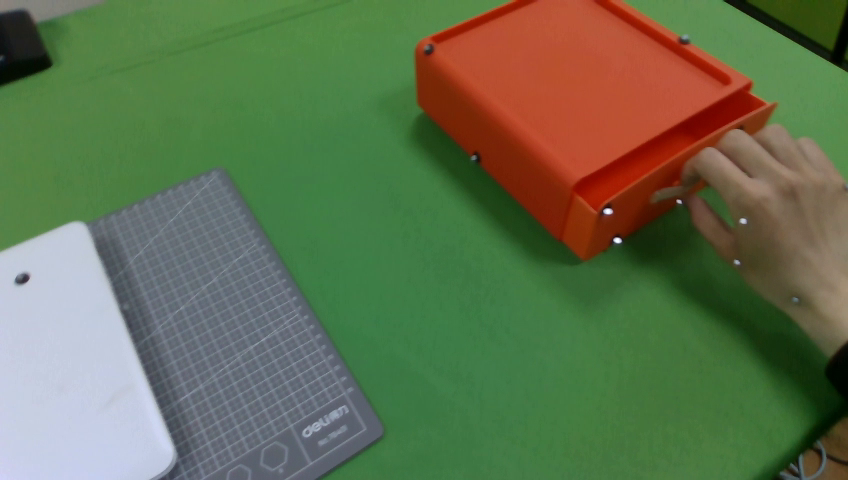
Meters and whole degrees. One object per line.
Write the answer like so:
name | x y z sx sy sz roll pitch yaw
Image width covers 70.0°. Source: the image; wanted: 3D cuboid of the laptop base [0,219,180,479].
laptop base | -0.361 0.140 0.390 0.354 0.023 0.233 -28 61 -18

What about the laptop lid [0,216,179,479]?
laptop lid | -0.360 0.134 0.379 0.357 0.013 0.239 -27 59 -17

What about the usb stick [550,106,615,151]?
usb stick | 0.144 -0.101 0.541 0.059 0.027 0.021 -15 54 -9

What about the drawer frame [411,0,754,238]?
drawer frame | 0.130 -0.132 0.539 0.202 0.083 0.211 -31 57 -19

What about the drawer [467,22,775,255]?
drawer | 0.146 -0.114 0.527 0.194 0.074 0.209 -30 57 -18
